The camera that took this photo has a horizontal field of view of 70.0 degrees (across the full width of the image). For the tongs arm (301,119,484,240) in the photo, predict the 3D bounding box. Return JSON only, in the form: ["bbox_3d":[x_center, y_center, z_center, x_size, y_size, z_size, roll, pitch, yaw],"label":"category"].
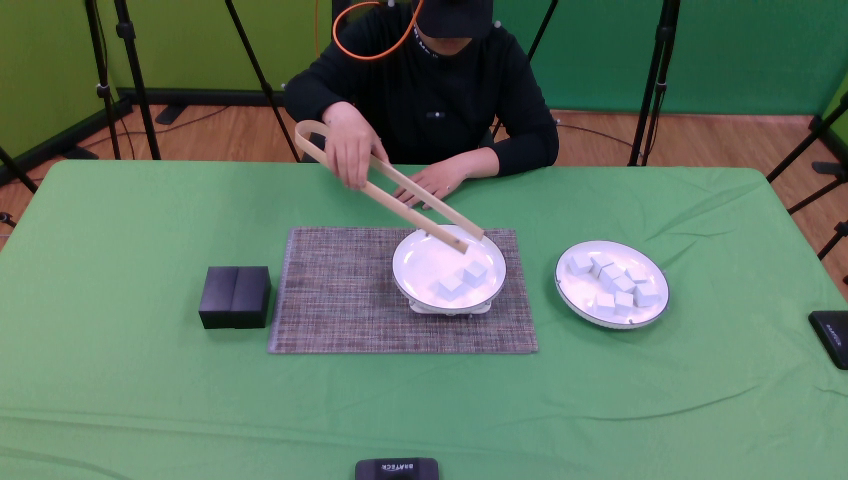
[{"bbox_3d":[-0.060,-0.109,1.035,0.386,0.028,0.028,34,53,17],"label":"tongs arm"}]

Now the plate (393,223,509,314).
[{"bbox_3d":[0.048,0.053,1.092,0.208,0.039,0.206,1,46,-1],"label":"plate"}]

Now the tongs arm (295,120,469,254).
[{"bbox_3d":[-0.077,-0.095,1.017,0.383,0.026,0.050,32,49,15],"label":"tongs arm"}]

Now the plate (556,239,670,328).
[{"bbox_3d":[0.347,0.083,1.130,0.209,0.038,0.208,2,47,-2],"label":"plate"}]

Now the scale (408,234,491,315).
[{"bbox_3d":[0.045,0.055,1.135,0.149,0.032,0.199,1,46,-3],"label":"scale"}]
